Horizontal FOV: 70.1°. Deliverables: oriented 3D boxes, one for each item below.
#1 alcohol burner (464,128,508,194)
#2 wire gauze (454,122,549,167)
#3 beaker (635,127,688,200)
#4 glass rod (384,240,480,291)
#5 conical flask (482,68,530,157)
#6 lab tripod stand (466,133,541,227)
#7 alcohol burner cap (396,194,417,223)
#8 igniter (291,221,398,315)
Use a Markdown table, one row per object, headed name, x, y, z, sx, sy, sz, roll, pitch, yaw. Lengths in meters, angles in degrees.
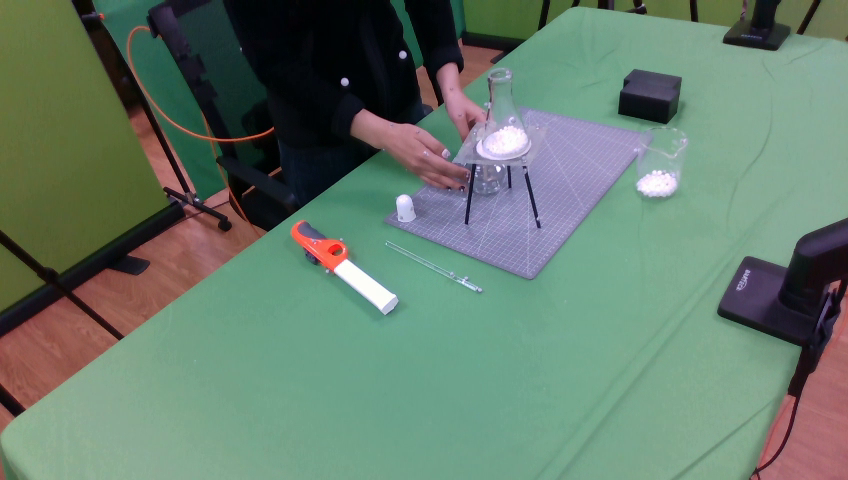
| name | x | y | z | sx | sy | sz | roll | pitch | yaw |
| --- | --- | --- | --- | --- | --- | --- | --- | --- | --- |
| alcohol burner | 0.106 | -0.141 | 1.055 | 0.078 | 0.120 | 0.077 | -7 | 41 | 6 |
| wire gauze | 0.122 | -0.149 | 0.943 | 0.121 | 0.011 | 0.125 | 7 | 44 | 22 |
| beaker | 0.388 | -0.122 | 0.994 | 0.074 | 0.101 | 0.083 | -8 | 41 | 2 |
| glass rod | 0.009 | 0.037 | 0.949 | 0.198 | 0.008 | 0.008 | 26 | 52 | 34 |
| conical flask | 0.118 | -0.192 | 0.902 | 0.075 | 0.122 | 0.075 | -7 | 39 | 6 |
| lab tripod stand | 0.130 | -0.099 | 0.985 | 0.148 | 0.132 | 0.147 | -6 | 38 | 6 |
| alcohol burner cap | -0.032 | -0.056 | 1.036 | 0.034 | 0.048 | 0.033 | -7 | 40 | 6 |
| igniter | -0.136 | 0.037 | 0.962 | 0.057 | 0.025 | 0.274 | -41 | 48 | -18 |
